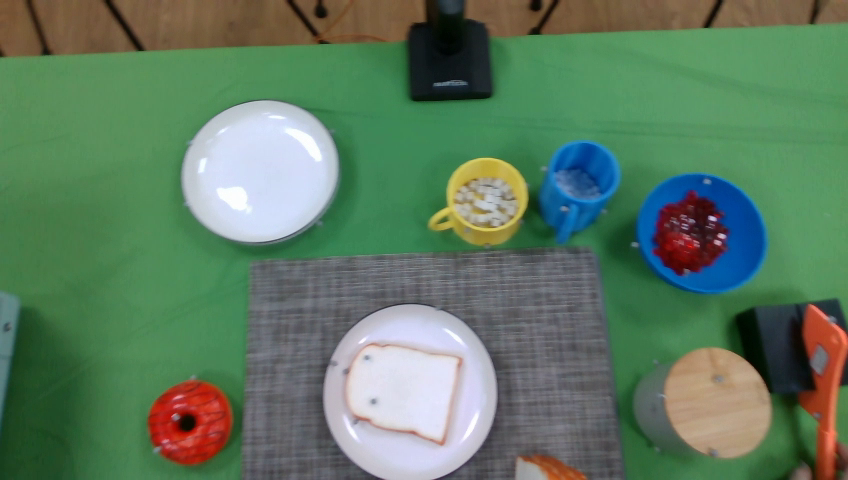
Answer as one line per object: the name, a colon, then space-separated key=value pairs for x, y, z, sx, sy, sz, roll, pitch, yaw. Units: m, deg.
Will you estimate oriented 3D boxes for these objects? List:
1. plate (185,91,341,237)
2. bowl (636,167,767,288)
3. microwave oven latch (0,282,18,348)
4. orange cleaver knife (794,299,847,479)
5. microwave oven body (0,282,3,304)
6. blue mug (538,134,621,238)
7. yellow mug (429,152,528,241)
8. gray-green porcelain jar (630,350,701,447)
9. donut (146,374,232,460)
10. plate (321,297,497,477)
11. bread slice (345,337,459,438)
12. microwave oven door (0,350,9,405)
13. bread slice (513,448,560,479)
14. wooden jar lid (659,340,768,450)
plate: x=-0.213 y=-0.100 z=0.815 sx=0.208 sy=0.039 sz=0.206 roll=0 pitch=74 yaw=1
bowl: x=0.332 y=-0.006 z=0.755 sx=0.151 sy=0.077 sz=0.150 roll=0 pitch=74 yaw=2
microwave oven latch: x=-0.526 y=0.092 z=0.746 sx=0.030 sy=0.029 sz=0.078 roll=2 pitch=74 yaw=1
orange cleaver knife: x=0.451 y=0.174 z=0.697 sx=0.012 sy=0.077 sz=0.212 roll=-5 pitch=103 yaw=-2
microwave oven body: x=-0.675 y=0.236 z=0.606 sx=0.326 sy=0.261 sz=0.439 roll=-1 pitch=74 yaw=1
blue mug: x=0.188 y=-0.058 z=0.760 sx=0.082 sy=0.106 sz=0.116 roll=17 pitch=75 yaw=7
yellow mug: x=0.067 y=-0.049 z=0.780 sx=0.131 sy=0.064 sz=0.099 roll=-23 pitch=74 yaw=-4
gray-green porcelain jar: x=0.295 y=0.176 z=0.678 sx=0.106 sy=0.127 sz=0.105 roll=0 pitch=73 yaw=1
donut: x=-0.279 y=0.211 z=0.723 sx=0.099 sy=0.048 sz=0.098 roll=0 pitch=74 yaw=-1
plate: x=-0.017 y=0.173 z=0.727 sx=0.209 sy=0.038 sz=0.208 roll=0 pitch=73 yaw=1
bread slice: x=-0.030 y=0.173 z=0.731 sx=0.131 sy=0.019 sz=0.104 roll=12 pitch=73 yaw=1
microwave oven door: x=-0.529 y=0.272 z=0.587 sx=0.039 sy=0.245 sz=0.353 roll=-1 pitch=73 yaw=1
bread slice: x=0.117 y=0.280 z=0.648 sx=0.018 sy=0.135 sz=0.106 roll=6 pitch=72 yaw=-4
wooden jar lid: x=0.292 y=0.158 z=0.618 sx=0.108 sy=0.021 sz=0.108 roll=0 pitch=75 yaw=-1
